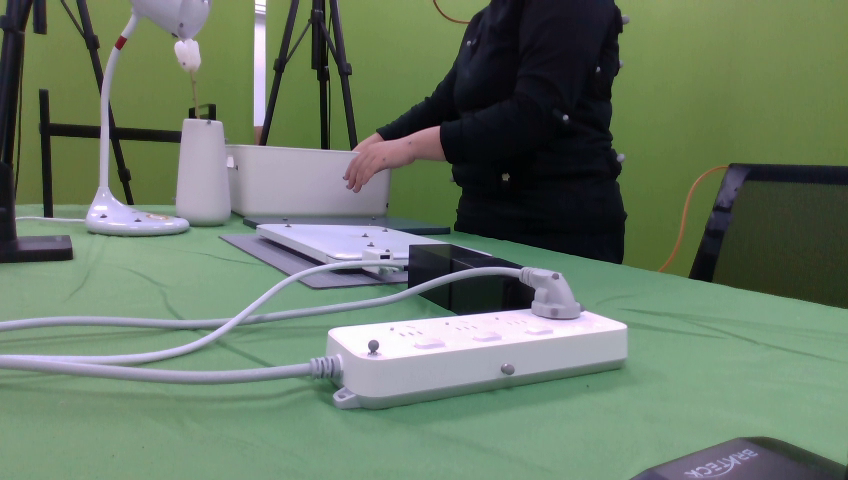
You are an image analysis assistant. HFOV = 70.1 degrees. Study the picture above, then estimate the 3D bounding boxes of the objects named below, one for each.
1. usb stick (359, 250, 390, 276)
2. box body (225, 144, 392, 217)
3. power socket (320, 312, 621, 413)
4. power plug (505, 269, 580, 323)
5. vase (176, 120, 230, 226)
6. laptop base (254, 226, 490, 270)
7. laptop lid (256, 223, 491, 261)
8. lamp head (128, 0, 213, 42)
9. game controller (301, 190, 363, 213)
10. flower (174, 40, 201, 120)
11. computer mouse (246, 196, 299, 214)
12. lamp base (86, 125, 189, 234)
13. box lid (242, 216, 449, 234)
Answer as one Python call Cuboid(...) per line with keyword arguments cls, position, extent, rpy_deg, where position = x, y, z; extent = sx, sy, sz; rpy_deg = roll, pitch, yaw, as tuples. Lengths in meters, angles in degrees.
Cuboid(cls="usb stick", position=(-0.061, 0.026, 0.709), extent=(0.021, 0.027, 0.059), rpy_deg=(-2, 3, -29))
Cuboid(cls="box body", position=(-0.289, -0.143, 1.475), extent=(0.366, 0.160, 0.253), rpy_deg=(-1, 9, -29))
Cuboid(cls="power socket", position=(0.038, 0.075, 0.409), extent=(0.228, 0.032, 0.072), rpy_deg=(-2, 8, -29))
Cuboid(cls="power plug", position=(0.092, 0.051, 0.470), extent=(0.035, 0.052, 0.072), rpy_deg=(0, 7, -16))
Cuboid(cls="vase", position=(-0.425, -0.128, 1.159), extent=(0.098, 0.200, 0.098), rpy_deg=(2, 9, 0))
Cuboid(cls="laptop base", position=(-0.095, 0.011, 0.912), extent=(0.237, 0.023, 0.352), rpy_deg=(3, 6, -32))
Cuboid(cls="laptop lid", position=(-0.092, 0.000, 0.912), extent=(0.243, 0.013, 0.355), rpy_deg=(2, 7, -30))
Cuboid(cls="lamp head", position=(-0.423, -0.394, 0.980), extent=(0.123, 0.112, 0.112), rpy_deg=(20, 7, -3))
Cuboid(cls="game controller", position=(-0.239, -0.099, 1.550), extent=(0.155, 0.051, 0.097), rpy_deg=(3, 12, 5))
Cuboid(cls="flower", position=(-0.430, -0.211, 1.165), extent=(0.044, 0.361, 0.038), rpy_deg=(-10, -5, -23))
Cuboid(cls="computer mouse", position=(-0.354, -0.083, 1.418), extent=(0.117, 0.041, 0.063), rpy_deg=(0, 10, 7))
Cuboid(cls="lamp base", position=(-0.497, -0.105, 1.027), extent=(0.179, 0.180, 0.160), rpy_deg=(1, 7, 3))
Cuboid(cls="box lid", position=(-0.162, -0.030, 1.233), extent=(0.373, 0.015, 0.262), rpy_deg=(-1, 8, -32))
